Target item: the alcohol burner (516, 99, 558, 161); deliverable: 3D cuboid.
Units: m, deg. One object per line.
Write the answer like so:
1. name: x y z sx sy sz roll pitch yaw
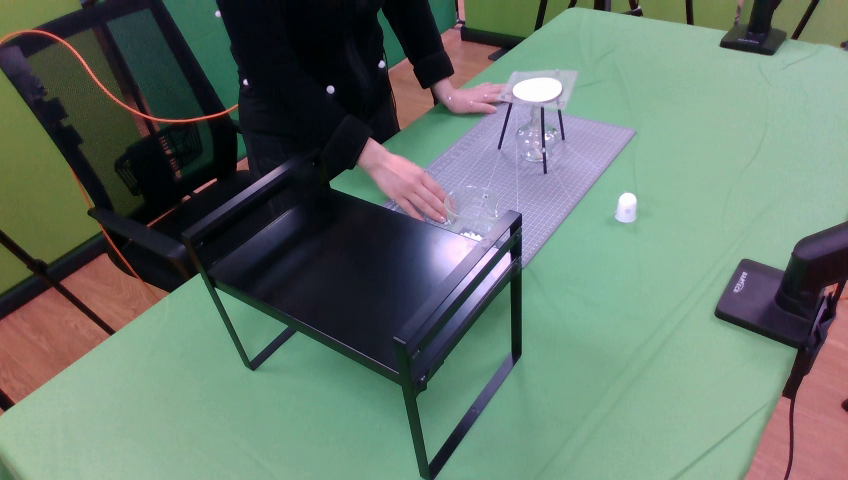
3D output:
1. alcohol burner: 0.208 -0.205 1.110 0.078 0.119 0.077 -3 41 3

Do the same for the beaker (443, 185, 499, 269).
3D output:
1. beaker: 0.071 -0.015 0.844 0.074 0.101 0.083 -35 48 -28

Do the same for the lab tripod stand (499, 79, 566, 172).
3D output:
1. lab tripod stand: 0.204 -0.215 1.107 0.148 0.132 0.147 -6 41 5

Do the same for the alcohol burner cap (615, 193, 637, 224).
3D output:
1. alcohol burner cap: 0.327 -0.054 0.974 0.034 0.048 0.033 -4 38 4

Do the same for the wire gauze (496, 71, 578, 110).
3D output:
1. wire gauze: 0.199 -0.268 1.065 0.124 0.011 0.121 10 44 22
